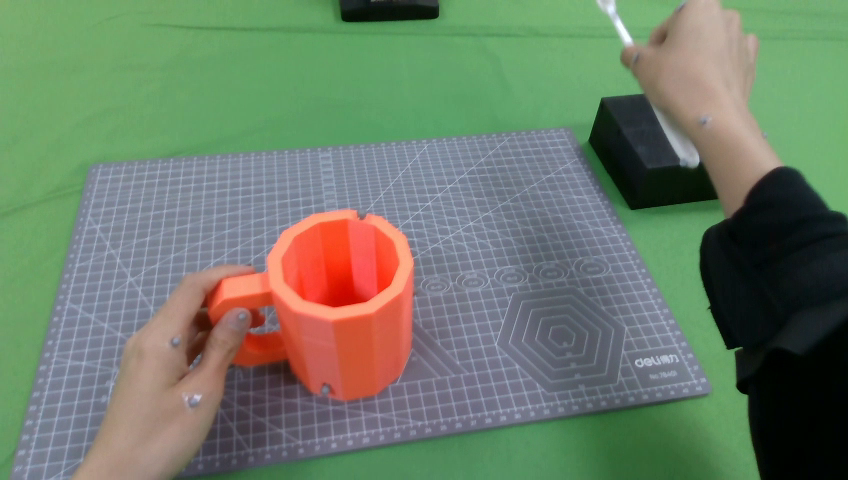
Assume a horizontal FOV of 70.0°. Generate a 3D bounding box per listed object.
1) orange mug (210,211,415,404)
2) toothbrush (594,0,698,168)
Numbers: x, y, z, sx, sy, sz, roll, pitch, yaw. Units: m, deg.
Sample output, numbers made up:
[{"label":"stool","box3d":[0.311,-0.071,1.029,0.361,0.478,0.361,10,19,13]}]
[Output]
[{"label":"orange mug","box3d":[-0.068,0.047,0.388,0.126,0.101,0.082,-6,49,-15]},{"label":"toothbrush","box3d":[0.159,-0.131,0.447,0.014,0.017,0.180,-16,67,-2]}]
